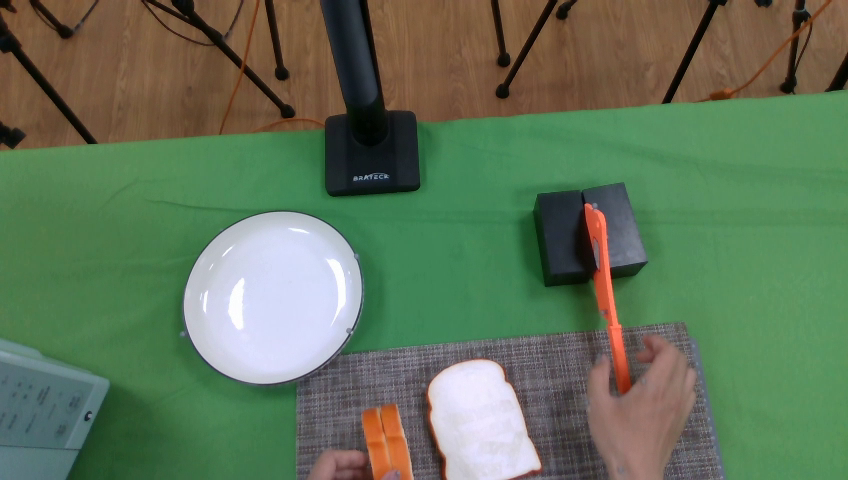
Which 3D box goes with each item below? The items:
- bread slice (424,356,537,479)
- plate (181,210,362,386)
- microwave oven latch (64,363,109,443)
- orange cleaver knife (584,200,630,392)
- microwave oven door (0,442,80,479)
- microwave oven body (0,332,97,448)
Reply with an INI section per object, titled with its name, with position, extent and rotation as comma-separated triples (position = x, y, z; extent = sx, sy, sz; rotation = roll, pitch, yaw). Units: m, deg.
[bread slice]
position = 0.059, 0.196, 0.662
extent = 0.107, 0.018, 0.133
rotation = -12, 79, -7
[plate]
position = -0.173, 0.067, 0.708
extent = 0.207, 0.039, 0.206
rotation = -1, 70, 2
[microwave oven latch]
position = -0.373, 0.177, 0.657
extent = 0.030, 0.030, 0.079
rotation = 18, 73, 8
[orange cleaver knife]
position = 0.200, 0.059, 0.672
extent = 0.012, 0.077, 0.211
rotation = -9, 91, 2
[microwave oven door]
position = -0.446, 0.338, 0.494
extent = 0.039, 0.245, 0.354
rotation = 15, 71, 9
[microwave oven body]
position = -0.572, 0.263, 0.531
extent = 0.325, 0.262, 0.439
rotation = 16, 72, 7
